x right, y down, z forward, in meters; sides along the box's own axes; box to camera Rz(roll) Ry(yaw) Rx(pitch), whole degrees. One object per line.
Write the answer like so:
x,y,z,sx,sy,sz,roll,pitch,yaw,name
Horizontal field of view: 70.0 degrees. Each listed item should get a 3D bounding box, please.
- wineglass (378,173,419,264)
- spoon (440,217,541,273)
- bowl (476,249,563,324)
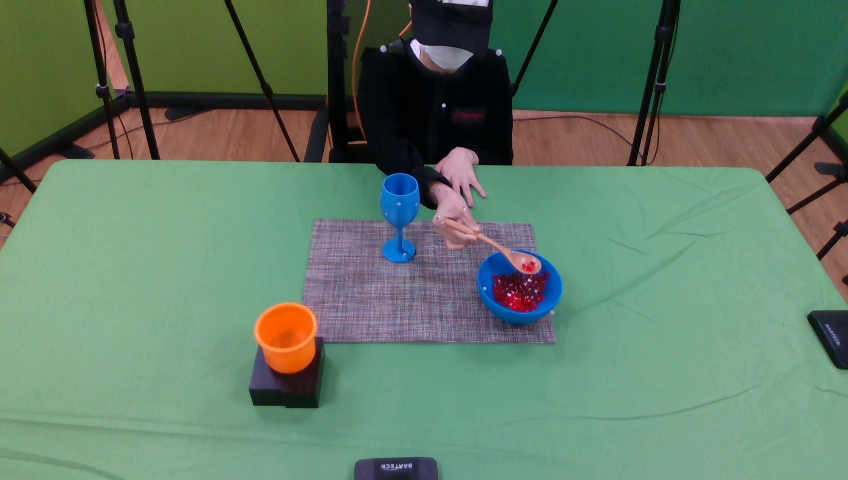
-0.047,-0.037,1.121,0.074,0.173,0.073,2,46,-2,wineglass
0.116,0.005,1.050,0.194,0.022,0.041,29,56,-7,spoon
0.163,0.096,1.073,0.151,0.077,0.150,2,45,-2,bowl
